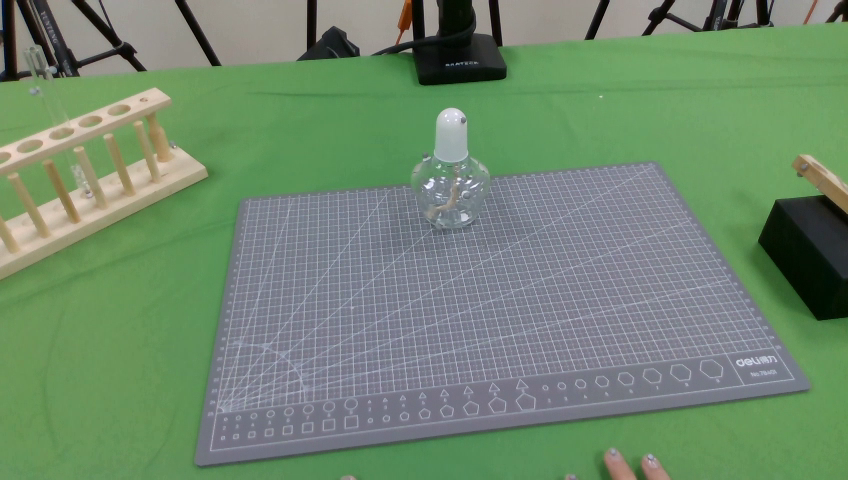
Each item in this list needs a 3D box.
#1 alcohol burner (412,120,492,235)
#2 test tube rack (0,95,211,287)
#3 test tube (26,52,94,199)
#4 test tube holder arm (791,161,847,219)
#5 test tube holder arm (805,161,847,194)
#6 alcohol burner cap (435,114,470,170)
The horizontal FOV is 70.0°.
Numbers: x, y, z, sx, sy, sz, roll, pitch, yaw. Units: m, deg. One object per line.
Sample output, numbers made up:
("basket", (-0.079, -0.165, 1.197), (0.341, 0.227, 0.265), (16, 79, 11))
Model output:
("alcohol burner", (0.026, -0.064, 0.571), (0.078, 0.120, 0.077), (0, 43, 0))
("test tube rack", (-0.343, -0.050, 0.593), (0.066, 0.086, 0.242), (33, 52, 32))
("test tube", (-0.344, -0.104, 0.580), (0.017, 0.151, 0.017), (1, 37, 0))
("test tube holder arm", (0.361, -0.040, 0.536), (0.010, 0.015, 0.087), (-9, 43, -14))
("test tube holder arm", (0.379, -0.012, 0.506), (0.013, 0.015, 0.176), (-9, 43, -15))
("alcohol burner cap", (0.026, -0.091, 0.547), (0.034, 0.048, 0.033), (1, 40, 0))
